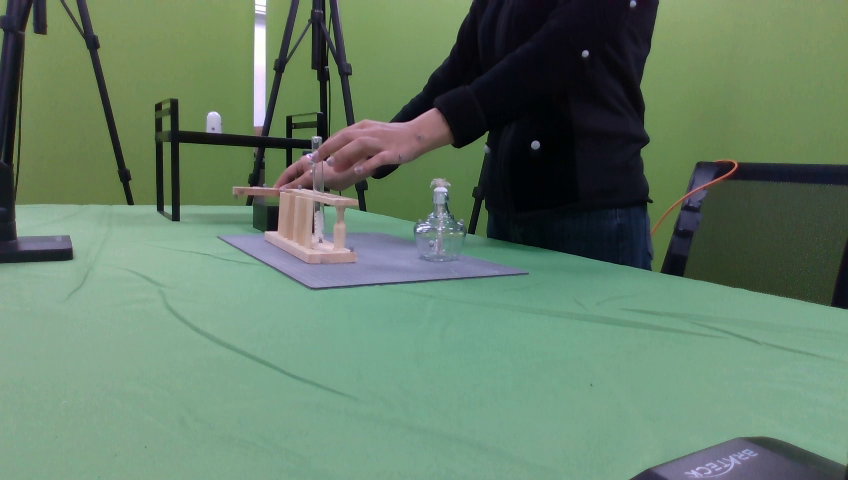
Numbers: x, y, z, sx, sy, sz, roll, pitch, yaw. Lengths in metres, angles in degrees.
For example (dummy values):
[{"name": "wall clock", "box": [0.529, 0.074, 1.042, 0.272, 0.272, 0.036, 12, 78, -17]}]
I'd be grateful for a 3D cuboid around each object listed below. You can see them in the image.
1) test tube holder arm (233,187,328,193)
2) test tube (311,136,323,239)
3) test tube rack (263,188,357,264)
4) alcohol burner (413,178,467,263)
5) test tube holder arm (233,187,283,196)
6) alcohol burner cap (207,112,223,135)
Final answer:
[{"name": "test tube holder arm", "box": [-0.267, -0.091, 1.141, 0.179, 0.015, 0.013, 0, 17, -28]}, {"name": "test tube", "box": [-0.155, -0.076, 0.878, 0.017, 0.150, 0.017, 0, 7, 0]}, {"name": "test tube rack", "box": [-0.175, -0.027, 0.890, 0.067, 0.085, 0.241, -1, 8, -28]}, {"name": "alcohol burner", "box": [0.022, -0.029, 0.864, 0.078, 0.119, 0.078, 1, 7, 0]}, {"name": "test tube holder arm", "box": [-0.305, -0.089, 1.115, 0.088, 0.015, 0.010, 0, 17, -27]}, {"name": "alcohol burner cap", "box": [-0.440, -0.245, 1.271, 0.034, 0.048, 0.034, 2, 8, 0]}]
